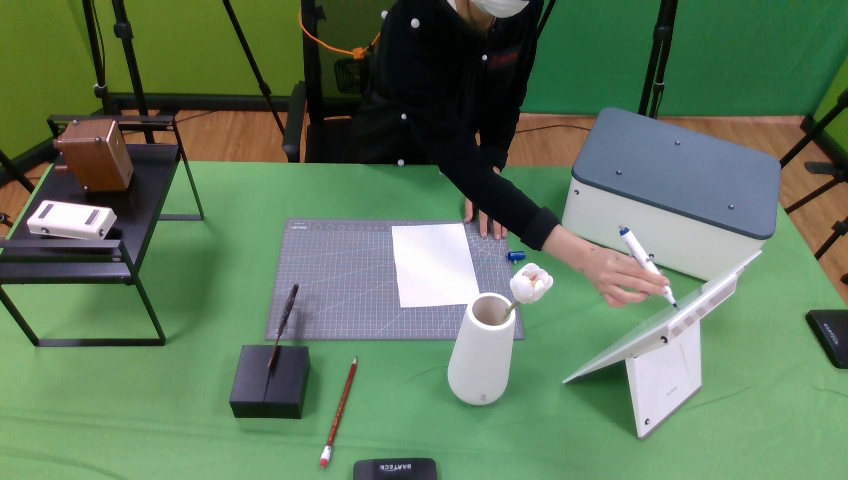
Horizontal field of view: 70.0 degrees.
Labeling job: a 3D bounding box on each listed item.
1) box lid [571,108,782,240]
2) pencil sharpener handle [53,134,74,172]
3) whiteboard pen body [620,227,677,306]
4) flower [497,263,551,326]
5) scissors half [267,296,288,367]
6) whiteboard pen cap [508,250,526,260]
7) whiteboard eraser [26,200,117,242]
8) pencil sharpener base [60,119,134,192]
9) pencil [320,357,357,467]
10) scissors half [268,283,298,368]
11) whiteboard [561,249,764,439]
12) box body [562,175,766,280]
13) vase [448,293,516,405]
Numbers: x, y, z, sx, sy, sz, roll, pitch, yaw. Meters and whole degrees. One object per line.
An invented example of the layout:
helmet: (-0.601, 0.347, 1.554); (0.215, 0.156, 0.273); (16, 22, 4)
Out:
box lid: (0.491, -0.139, 1.168); (0.370, 0.015, 0.262); (21, 49, 15)
pencil sharpener handle: (-0.577, -0.138, 0.961); (0.031, 0.068, 0.036); (-4, 34, -7)
whiteboard pen body: (0.326, 0.040, 0.875); (0.017, 0.017, 0.141); (-40, 97, -33)
flower: (0.103, 0.121, 0.853); (0.044, 0.363, 0.038); (-1, 64, -9)
scissors half: (-0.239, 0.150, 0.997); (0.013, 0.040, 0.174); (24, 24, -13)
whiteboard pen cap: (0.180, 0.029, 1.185); (0.033, 0.018, 0.018); (-4, 47, -14)
whiteboard eraser: (-0.532, -0.026, 0.919); (0.113, 0.042, 0.055); (7, 45, 3)
pencil sharpener base: (-0.528, -0.135, 0.979); (0.077, 0.107, 0.061); (-4, 47, -7)
pencil: (-0.130, 0.261, 0.947); (0.012, 0.012, 0.193); (10, 45, 5)
scissors half: (-0.230, 0.135, 0.986); (0.013, 0.040, 0.174); (19, 43, -11)
whiteboard: (0.386, 0.176, 0.905); (0.217, 0.306, 0.143); (-26, 72, -26)
box body: (0.486, -0.088, 1.222); (0.363, 0.161, 0.253); (20, 48, 15)
vase: (0.091, 0.169, 0.921); (0.098, 0.201, 0.097); (3, 47, -3)
